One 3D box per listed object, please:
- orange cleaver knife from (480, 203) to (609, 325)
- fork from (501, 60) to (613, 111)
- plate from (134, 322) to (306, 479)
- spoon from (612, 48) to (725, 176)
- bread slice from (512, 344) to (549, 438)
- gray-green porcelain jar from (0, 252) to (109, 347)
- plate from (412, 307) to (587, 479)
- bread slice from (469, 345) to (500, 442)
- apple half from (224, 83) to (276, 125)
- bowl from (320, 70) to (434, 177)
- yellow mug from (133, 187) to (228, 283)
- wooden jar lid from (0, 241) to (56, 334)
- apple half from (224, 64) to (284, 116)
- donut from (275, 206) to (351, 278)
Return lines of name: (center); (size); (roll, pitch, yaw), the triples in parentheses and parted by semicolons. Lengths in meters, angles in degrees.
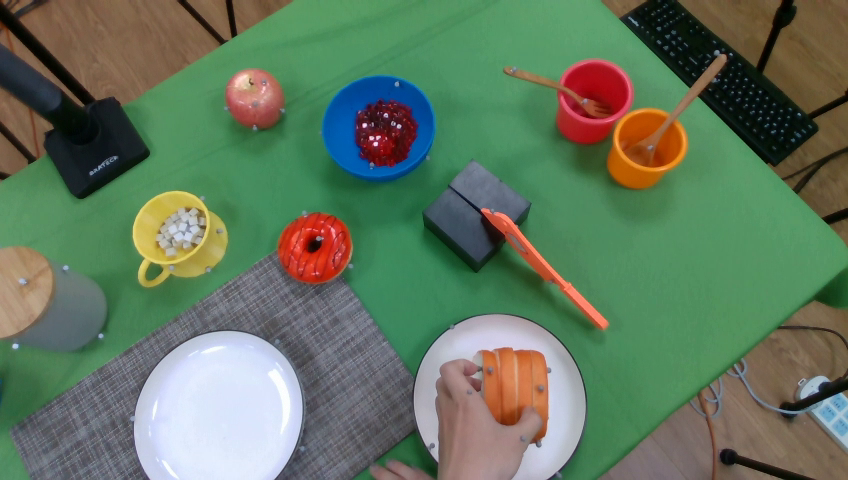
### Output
orange cleaver knife: (0.149, 0.028, 0.758); (0.212, 0.077, 0.012); (45, 82, -9)
fork: (0.179, -0.202, 0.794); (0.209, 0.018, 0.028); (10, 65, -38)
plate: (-0.245, 0.205, 0.740); (0.207, 0.039, 0.206); (-1, 73, 2)
spoon: (0.312, -0.160, 0.774); (0.041, 0.022, 0.194); (46, 125, 16)
bread slice: (0.118, 0.170, 0.681); (0.019, 0.132, 0.104); (2, 74, -1)
gray-green porcelain jar: (-0.466, 0.075, 0.750); (0.106, 0.127, 0.105); (-1, 72, 3)
plate: (0.089, 0.186, 0.734); (0.209, 0.038, 0.208); (-1, 72, 3)
bread slice: (0.067, 0.170, 0.685); (0.018, 0.135, 0.106); (0, 69, -2)
apple half: (-0.246, -0.180, 0.845); (0.081, 0.082, 0.032); (18, 69, 9)
bowl: (-0.060, -0.145, 0.825); (0.151, 0.077, 0.150); (-1, 73, 3)
yellow mug: (-0.329, 0.000, 0.798); (0.099, 0.064, 0.130); (29, 77, 11)
wooden jar lid: (-0.470, 0.055, 0.690); (0.108, 0.021, 0.107); (-1, 71, 4)
apple half: (-0.233, -0.215, 0.857); (0.080, 0.075, 0.053); (18, 68, 12)
donut: (-0.145, 0.003, 0.796); (0.099, 0.048, 0.098); (-1, 73, 2)
